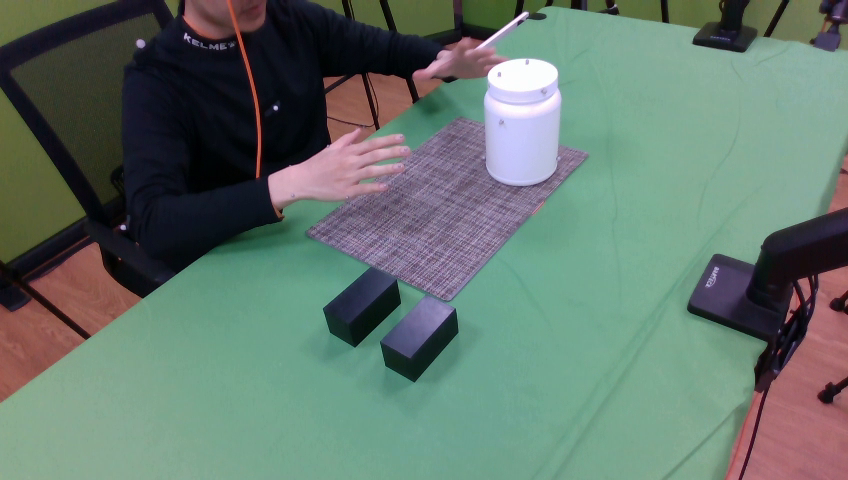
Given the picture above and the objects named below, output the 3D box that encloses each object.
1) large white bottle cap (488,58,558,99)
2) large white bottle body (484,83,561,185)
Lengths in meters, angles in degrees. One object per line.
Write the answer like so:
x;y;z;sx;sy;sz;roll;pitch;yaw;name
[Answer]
0.162;-0.267;0.994;0.115;0.018;0.114;-3;41;3;large white bottle cap
0.170;-0.203;1.049;0.130;0.185;0.130;-4;41;4;large white bottle body
